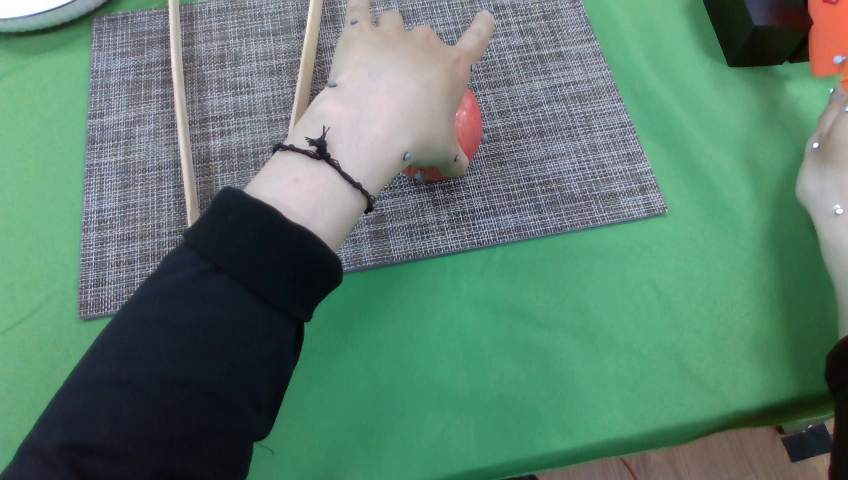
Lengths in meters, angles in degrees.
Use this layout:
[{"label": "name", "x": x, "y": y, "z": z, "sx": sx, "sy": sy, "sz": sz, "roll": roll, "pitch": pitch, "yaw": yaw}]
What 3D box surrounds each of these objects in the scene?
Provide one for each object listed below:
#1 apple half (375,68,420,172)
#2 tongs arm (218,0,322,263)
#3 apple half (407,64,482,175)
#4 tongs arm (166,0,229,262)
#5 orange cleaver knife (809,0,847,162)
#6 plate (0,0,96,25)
[{"label": "apple half", "x": -0.021, "y": -0.090, "z": 0.464, "sx": 0.033, "sy": 0.082, "sz": 0.080, "roll": 7, "pitch": 64, "yaw": 0}, {"label": "tongs arm", "x": -0.120, "y": -0.161, "z": 0.522, "sx": 0.051, "sy": 0.027, "sz": 0.381, "roll": 1, "pitch": 65, "yaw": -1}, {"label": "apple half", "x": 0.017, "y": -0.088, "z": 0.464, "sx": 0.053, "sy": 0.075, "sz": 0.080, "roll": 7, "pitch": 62, "yaw": -1}, {"label": "tongs arm", "x": -0.204, "y": -0.154, "z": 0.521, "sx": 0.028, "sy": 0.028, "sz": 0.384, "roll": -11, "pitch": 65, "yaw": -10}, {"label": "orange cleaver knife", "x": 0.327, "y": -0.162, "z": 0.476, "sx": 0.012, "sy": 0.077, "sz": 0.211, "roll": -6, "pitch": 96, "yaw": 1}, {"label": "plate", "x": -0.367, "y": -0.279, "z": 0.576, "sx": 0.209, "sy": 0.038, "sz": 0.207, "roll": 0, "pitch": 64, "yaw": 0}]
